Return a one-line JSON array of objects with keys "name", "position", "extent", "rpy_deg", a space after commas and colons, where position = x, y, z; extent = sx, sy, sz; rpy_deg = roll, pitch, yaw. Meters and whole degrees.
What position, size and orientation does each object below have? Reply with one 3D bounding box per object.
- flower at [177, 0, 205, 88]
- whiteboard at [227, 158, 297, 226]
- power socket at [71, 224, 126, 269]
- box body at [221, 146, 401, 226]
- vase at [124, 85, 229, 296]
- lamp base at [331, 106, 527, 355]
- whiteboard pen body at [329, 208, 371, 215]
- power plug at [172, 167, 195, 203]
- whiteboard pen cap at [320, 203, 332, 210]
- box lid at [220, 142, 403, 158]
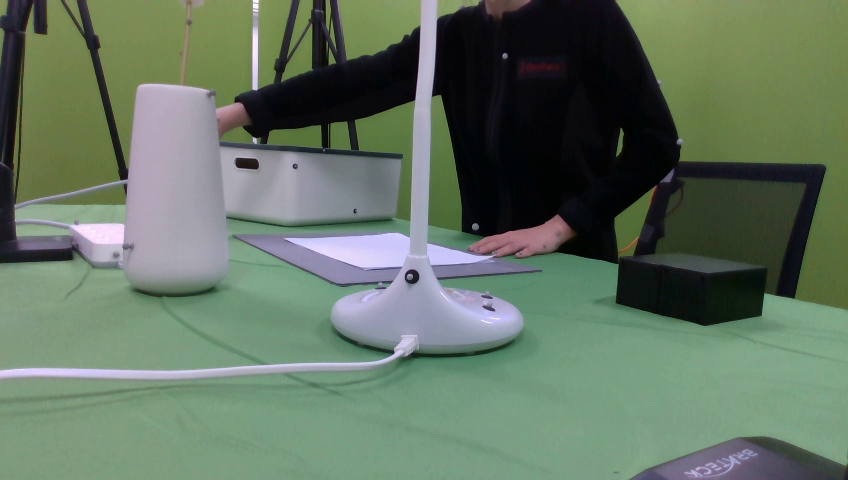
[{"name": "flower", "position": [-0.243, -0.131, 0.609], "extent": [0.044, 0.361, 0.038], "rpy_deg": [-5, -12, 11]}, {"name": "whiteboard", "position": [-0.265, -0.116, 1.372], "extent": [0.216, 0.143, 0.307], "rpy_deg": [4, 7, 35]}, {"name": "power socket", "position": [-0.409, 0.004, 0.792], "extent": [0.072, 0.032, 0.225], "rpy_deg": [-2, 8, -37]}, {"name": "box body", "position": [-0.254, -0.128, 1.379], "extent": [0.253, 0.160, 0.366], "rpy_deg": [8, 9, 36]}, {"name": "vase", "position": [-0.244, -0.047, 0.598], "extent": [0.098, 0.200, 0.098], "rpy_deg": [3, 8, 0]}, {"name": "lamp base", "position": [0.006, -0.012, 0.478], "extent": [0.161, 0.180, 0.179], "rpy_deg": [2, 10, 2]}, {"name": "whiteboard pen body", "position": [-0.189, -0.073, 1.521], "extent": [0.140, 0.017, 0.017], "rpy_deg": [3, 6, 37]}, {"name": "power plug", "position": [-0.398, -0.094, 1.013], "extent": [0.035, 0.052, 0.072], "rpy_deg": [-5, 19, -1]}, {"name": "whiteboard pen cap", "position": [-0.247, -0.084, 1.531], "extent": [0.033, 0.018, 0.018], "rpy_deg": [9, 10, 39]}, {"name": "box lid", "position": [-0.252, -0.202, 1.368], "extent": [0.262, 0.015, 0.373], "rpy_deg": [9, 9, 36]}]
